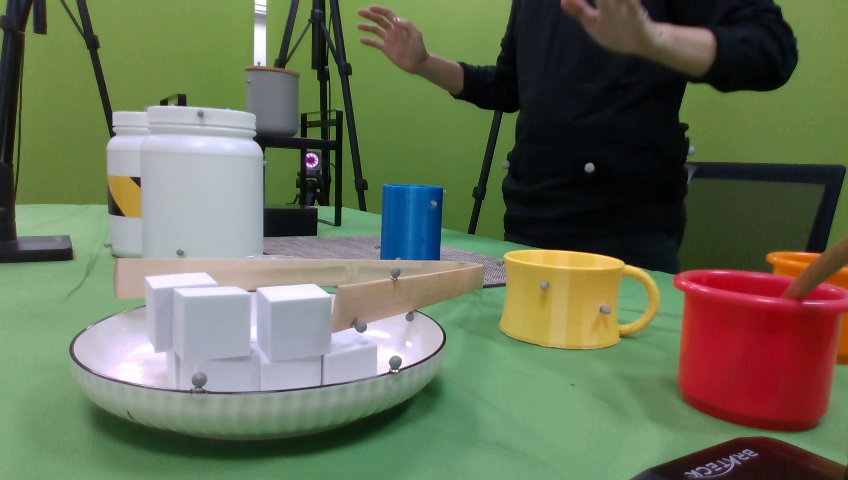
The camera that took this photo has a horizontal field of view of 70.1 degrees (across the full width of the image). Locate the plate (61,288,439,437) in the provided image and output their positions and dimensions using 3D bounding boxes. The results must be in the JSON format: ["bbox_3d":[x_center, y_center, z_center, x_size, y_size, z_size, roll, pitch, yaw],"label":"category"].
[{"bbox_3d":[-0.095,0.069,0.362,0.208,0.039,0.207,3,7,0],"label":"plate"}]

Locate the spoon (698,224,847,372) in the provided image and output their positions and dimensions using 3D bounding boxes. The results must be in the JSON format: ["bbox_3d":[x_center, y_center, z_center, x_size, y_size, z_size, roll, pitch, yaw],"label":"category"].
[{"bbox_3d":[0.195,0.032,0.323,0.041,0.021,0.194,1,-36,2],"label":"spoon"}]

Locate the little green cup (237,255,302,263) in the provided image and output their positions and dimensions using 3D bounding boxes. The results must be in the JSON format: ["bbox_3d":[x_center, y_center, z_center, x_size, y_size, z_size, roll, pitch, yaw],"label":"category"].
[{"bbox_3d":[-0.150,0.038,0.590,0.061,0.038,0.061,3,7,0],"label":"little green cup"}]

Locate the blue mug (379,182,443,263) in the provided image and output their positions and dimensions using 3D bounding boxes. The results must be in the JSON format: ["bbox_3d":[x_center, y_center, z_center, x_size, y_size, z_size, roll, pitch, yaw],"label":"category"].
[{"bbox_3d":[-0.020,-0.026,0.833,0.082,0.106,0.116,1,7,-7],"label":"blue mug"}]

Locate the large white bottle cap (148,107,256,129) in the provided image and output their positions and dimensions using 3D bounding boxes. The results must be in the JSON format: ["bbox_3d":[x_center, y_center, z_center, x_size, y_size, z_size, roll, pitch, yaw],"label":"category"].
[{"bbox_3d":[-0.250,-0.137,0.686,0.115,0.018,0.115,3,8,0],"label":"large white bottle cap"}]

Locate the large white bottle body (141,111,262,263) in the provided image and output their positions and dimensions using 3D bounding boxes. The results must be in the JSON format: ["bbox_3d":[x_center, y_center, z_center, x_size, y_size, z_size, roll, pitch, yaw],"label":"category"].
[{"bbox_3d":[-0.254,-0.053,0.697,0.131,0.184,0.130,2,7,0],"label":"large white bottle body"}]

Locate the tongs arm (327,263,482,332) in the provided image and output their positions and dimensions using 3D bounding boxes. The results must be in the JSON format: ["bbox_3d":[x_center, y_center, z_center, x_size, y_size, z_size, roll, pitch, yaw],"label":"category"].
[{"bbox_3d":[-0.003,0.036,0.493,0.050,0.026,0.386,1,0,19],"label":"tongs arm"}]

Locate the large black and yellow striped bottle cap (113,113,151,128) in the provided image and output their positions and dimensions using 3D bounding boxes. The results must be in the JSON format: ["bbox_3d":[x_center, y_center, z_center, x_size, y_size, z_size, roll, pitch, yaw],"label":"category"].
[{"bbox_3d":[-0.348,-0.154,0.800,0.115,0.019,0.115,2,6,0],"label":"large black and yellow striped bottle cap"}]

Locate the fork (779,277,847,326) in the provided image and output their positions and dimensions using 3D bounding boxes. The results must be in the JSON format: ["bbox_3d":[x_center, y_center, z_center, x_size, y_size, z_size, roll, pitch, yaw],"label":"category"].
[{"bbox_3d":[0.335,0.018,0.443,0.028,0.018,0.207,-2,-36,-20],"label":"fork"}]

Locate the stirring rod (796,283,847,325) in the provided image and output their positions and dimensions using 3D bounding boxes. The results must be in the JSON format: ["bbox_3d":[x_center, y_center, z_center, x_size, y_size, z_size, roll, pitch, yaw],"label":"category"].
[{"bbox_3d":[0.347,0.019,0.460,0.014,0.176,0.006,-16,59,-26],"label":"stirring rod"}]

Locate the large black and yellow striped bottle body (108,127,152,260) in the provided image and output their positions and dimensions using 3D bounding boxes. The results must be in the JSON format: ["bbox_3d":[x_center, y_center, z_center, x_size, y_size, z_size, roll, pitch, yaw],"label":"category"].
[{"bbox_3d":[-0.350,-0.071,0.812,0.131,0.184,0.130,2,7,0],"label":"large black and yellow striped bottle body"}]

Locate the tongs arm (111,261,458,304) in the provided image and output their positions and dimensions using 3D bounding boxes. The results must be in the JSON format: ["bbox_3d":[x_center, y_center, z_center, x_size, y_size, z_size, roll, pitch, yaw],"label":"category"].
[{"bbox_3d":[-0.080,0.032,0.527,0.028,0.027,0.389,-3,-3,33],"label":"tongs arm"}]

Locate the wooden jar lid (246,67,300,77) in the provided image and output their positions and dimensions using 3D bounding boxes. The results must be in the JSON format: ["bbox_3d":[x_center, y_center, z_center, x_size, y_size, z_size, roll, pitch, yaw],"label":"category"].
[{"bbox_3d":[-0.312,-0.339,1.247,0.108,0.020,0.108,4,8,0],"label":"wooden jar lid"}]

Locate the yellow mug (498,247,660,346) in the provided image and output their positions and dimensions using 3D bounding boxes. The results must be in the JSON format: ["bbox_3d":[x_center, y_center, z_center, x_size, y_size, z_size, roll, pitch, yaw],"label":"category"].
[{"bbox_3d":[0.130,0.045,0.508,0.131,0.064,0.100,4,7,6],"label":"yellow mug"}]

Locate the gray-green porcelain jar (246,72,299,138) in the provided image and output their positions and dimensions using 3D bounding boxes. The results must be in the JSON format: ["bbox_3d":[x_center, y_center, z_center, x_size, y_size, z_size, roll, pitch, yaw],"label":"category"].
[{"bbox_3d":[-0.314,-0.277,1.256,0.106,0.126,0.106,3,8,0],"label":"gray-green porcelain jar"}]

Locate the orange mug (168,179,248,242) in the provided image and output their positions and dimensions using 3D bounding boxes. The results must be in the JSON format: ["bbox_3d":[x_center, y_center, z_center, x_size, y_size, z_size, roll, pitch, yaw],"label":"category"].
[{"bbox_3d":[-0.351,-0.050,0.986,0.126,0.101,0.083,-3,8,-9],"label":"orange mug"}]
